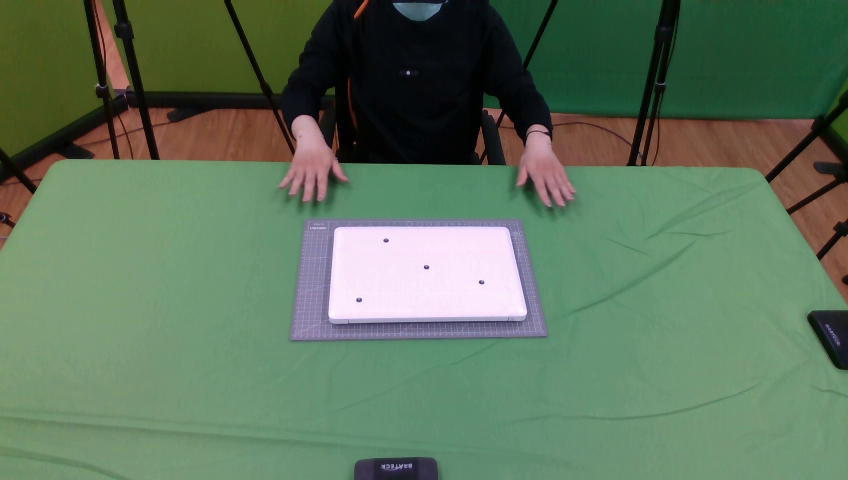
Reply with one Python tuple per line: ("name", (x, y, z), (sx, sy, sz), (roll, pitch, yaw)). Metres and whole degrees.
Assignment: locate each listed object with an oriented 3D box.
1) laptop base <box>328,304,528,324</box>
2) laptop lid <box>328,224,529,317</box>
("laptop base", (0.005, 0.061, 1.136), (0.355, 0.023, 0.234), (0, 43, -4))
("laptop lid", (0.005, 0.051, 1.130), (0.357, 0.013, 0.240), (1, 44, -3))
